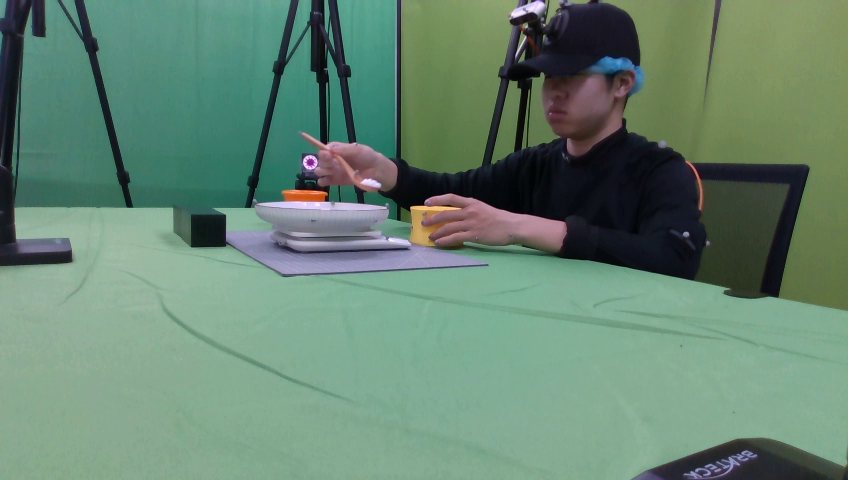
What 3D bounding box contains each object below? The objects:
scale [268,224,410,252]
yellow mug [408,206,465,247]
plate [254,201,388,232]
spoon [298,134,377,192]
[{"bbox_3d":[-0.137,-0.006,0.980,0.202,0.031,0.148,-1,8,-30],"label":"scale"},{"bbox_3d":[0.027,-0.027,1.104,0.099,0.064,0.131,6,7,20],"label":"yellow mug"},{"bbox_3d":[-0.161,-0.037,0.961,0.209,0.038,0.209,2,6,0],"label":"plate"},{"bbox_3d":[-0.154,-0.136,1.054,0.193,0.021,0.042,41,20,22],"label":"spoon"}]
